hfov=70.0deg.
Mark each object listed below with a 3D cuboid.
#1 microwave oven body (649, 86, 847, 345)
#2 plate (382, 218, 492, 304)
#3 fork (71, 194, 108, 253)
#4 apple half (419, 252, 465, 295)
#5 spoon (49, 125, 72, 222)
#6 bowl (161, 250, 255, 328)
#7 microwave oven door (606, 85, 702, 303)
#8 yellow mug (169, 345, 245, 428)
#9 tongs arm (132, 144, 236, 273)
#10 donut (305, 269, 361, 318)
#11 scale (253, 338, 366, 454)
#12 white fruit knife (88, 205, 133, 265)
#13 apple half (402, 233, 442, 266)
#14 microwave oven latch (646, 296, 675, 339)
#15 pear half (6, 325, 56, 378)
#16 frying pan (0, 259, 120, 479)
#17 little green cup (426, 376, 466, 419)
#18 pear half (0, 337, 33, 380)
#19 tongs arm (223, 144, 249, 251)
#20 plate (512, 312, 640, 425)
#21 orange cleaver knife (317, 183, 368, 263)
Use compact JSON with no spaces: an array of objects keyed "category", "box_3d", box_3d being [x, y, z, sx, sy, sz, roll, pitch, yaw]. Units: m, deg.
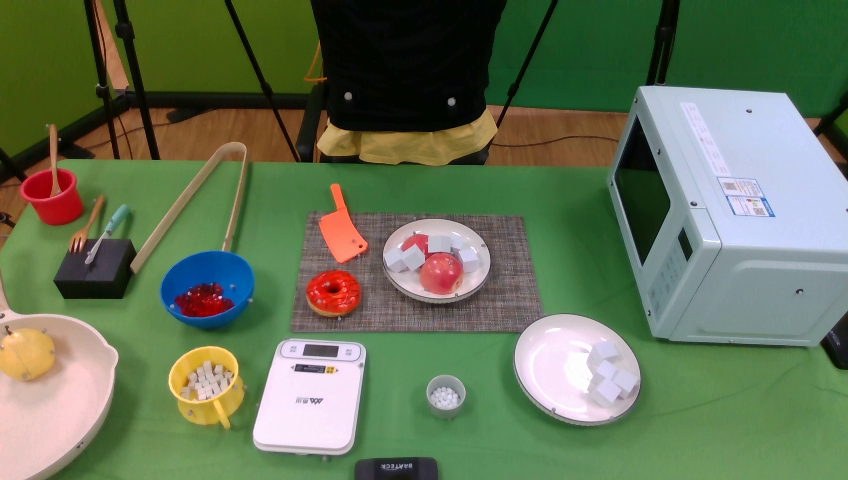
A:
[{"category":"microwave oven body","box_3d":[0.567,-0.053,1.118,0.326,0.261,0.439,2,45,-1]},{"category":"plate","box_3d":[0.023,0.042,1.143,0.209,0.038,0.208,2,46,-2]},{"category":"fork","box_3d":[-0.634,-0.036,1.158,0.028,0.019,0.206,-7,31,-8]},{"category":"apple half","box_3d":[0.035,0.055,1.109,0.074,0.053,0.081,38,55,24]},{"category":"spoon","box_3d":[-0.718,-0.131,1.189,0.041,0.021,0.193,-4,90,-7]},{"category":"bowl","box_3d":[-0.362,0.098,1.039,0.151,0.077,0.150,2,45,-2]},{"category":"microwave oven door","box_3d":[0.423,-0.094,1.140,0.039,0.245,0.353,2,46,-1]},{"category":"yellow mug","box_3d":[-0.322,0.230,0.922,0.100,0.064,0.130,-24,53,-25]},{"category":"tongs arm","box_3d":[-0.482,-0.078,1.235,0.028,0.028,0.385,6,45,12]},{"category":"donut","box_3d":[-0.160,0.094,1.075,0.099,0.048,0.098,4,45,-3]},{"category":"scale","box_3d":[-0.175,0.236,0.951,0.149,0.032,0.199,4,45,-1]},{"category":"white fruit knife","box_3d":[-0.583,-0.013,1.129,0.016,0.027,0.206,-2,32,-4]},{"category":"apple half","box_3d":[-0.004,0.013,1.160,0.081,0.033,0.081,4,45,-4]},{"category":"microwave oven latch","box_3d":[0.412,0.134,1.061,0.030,0.029,0.078,4,45,1]},{"category":"pear half","box_3d":[-0.608,0.158,0.935,0.076,0.110,0.056,31,51,20]},{"category":"frying pan","box_3d":[-0.647,0.164,0.936,0.307,0.103,0.485,-19,58,-22]},{"category":"little green cup","box_3d":[0.033,0.248,0.950,0.061,0.039,0.061,2,46,-2]},{"category":"pear half","box_3d":[-0.631,0.184,0.921,0.070,0.088,0.031,29,49,19]},{"category":"tongs arm","box_3d":[-0.397,-0.073,1.232,0.051,0.026,0.382,-1,45,0]},{"category":"plate","box_3d":[0.246,0.213,0.999,0.208,0.039,0.206,2,46,-2]},{"category":"orange cleaver knife","box_3d":[-0.174,-0.037,1.218,0.077,0.012,0.210,-17,51,-11]}]
